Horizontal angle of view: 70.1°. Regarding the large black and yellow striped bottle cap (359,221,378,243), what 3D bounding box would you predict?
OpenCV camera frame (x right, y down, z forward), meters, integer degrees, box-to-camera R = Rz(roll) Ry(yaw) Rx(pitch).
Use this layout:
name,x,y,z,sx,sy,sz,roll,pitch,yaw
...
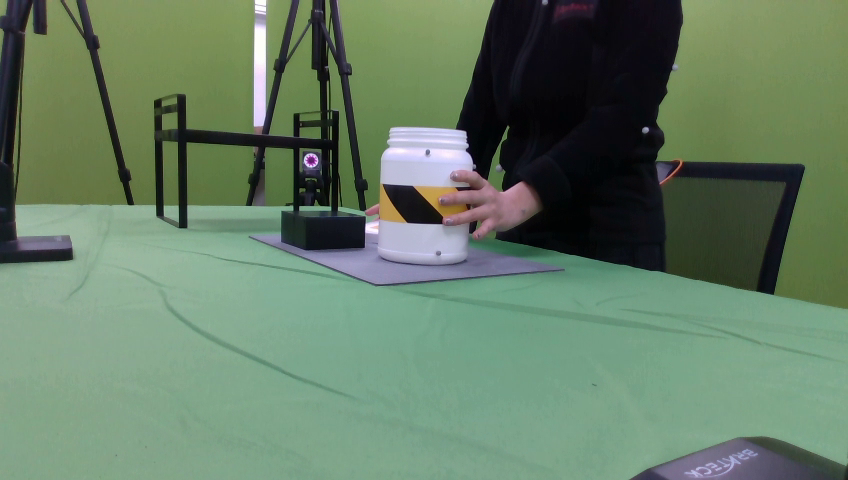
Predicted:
name,x,y,z,sx,sy,sz,roll,pitch,yaw
large black and yellow striped bottle cap,-0.055,-0.017,1.053,0.115,0.019,0.115,-5,13,1

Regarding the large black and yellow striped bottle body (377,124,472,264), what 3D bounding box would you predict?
name,x,y,z,sx,sy,sz,roll,pitch,yaw
large black and yellow striped bottle body,0.001,-0.066,0.851,0.131,0.184,0.130,2,7,0
